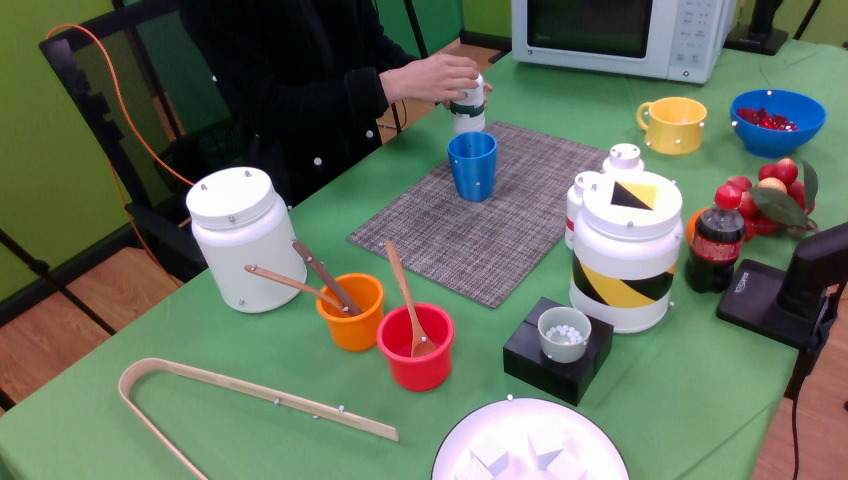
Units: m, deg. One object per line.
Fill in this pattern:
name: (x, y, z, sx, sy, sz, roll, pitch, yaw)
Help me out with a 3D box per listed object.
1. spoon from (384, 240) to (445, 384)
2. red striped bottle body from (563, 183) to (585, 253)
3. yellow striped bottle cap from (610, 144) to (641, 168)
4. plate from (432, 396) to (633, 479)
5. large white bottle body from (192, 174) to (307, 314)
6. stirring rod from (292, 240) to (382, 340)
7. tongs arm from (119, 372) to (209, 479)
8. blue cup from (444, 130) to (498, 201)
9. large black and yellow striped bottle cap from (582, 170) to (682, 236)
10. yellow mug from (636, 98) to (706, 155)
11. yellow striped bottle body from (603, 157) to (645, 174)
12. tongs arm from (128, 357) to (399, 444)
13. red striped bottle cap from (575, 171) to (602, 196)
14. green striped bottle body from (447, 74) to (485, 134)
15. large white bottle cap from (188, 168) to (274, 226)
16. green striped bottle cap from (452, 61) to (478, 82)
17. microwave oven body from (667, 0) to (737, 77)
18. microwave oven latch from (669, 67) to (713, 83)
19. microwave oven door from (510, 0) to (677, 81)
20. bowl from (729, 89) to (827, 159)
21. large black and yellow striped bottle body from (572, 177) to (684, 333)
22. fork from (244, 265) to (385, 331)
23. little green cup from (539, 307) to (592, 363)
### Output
spoon: (-0.016, 0.090, 0.776, 0.042, 0.021, 0.193, -17, 85, -10)
red striped bottle body: (0.246, -0.041, 0.910, 0.063, 0.120, 0.062, -2, 38, 2)
yellow striped bottle cap: (0.307, -0.128, 0.923, 0.044, 0.019, 0.044, -6, 40, 5)
plate: (0.112, 0.261, 0.634, 0.209, 0.038, 0.208, -5, 40, 4)
large white bottle body: (-0.256, 0.003, 0.885, 0.130, 0.185, 0.130, -5, 40, 4)
stirring rod: (-0.119, 0.068, 0.826, 0.176, 0.006, 0.014, 49, 59, -4)
tongs arm: (-0.258, 0.257, 0.700, 0.384, 0.028, 0.028, 24, 55, 34)
blue cup: (0.086, -0.123, 1.040, 0.092, 0.100, 0.092, -5, 42, 5)
large black and yellow striped bottle cap: (0.252, -0.048, 0.735, 0.115, 0.019, 0.114, -3, 40, 3)
yellow mug: (0.453, -0.217, 1.129, 0.100, 0.064, 0.129, -35, 46, -26)
yellow striped bottle body: (0.313, -0.089, 0.956, 0.063, 0.121, 0.062, -5, 40, 4)
tongs arm: (-0.213, 0.205, 0.755, 0.382, 0.026, 0.051, 12, 46, 23)
red striped bottle cap: (0.242, -0.081, 0.876, 0.044, 0.018, 0.044, -5, 44, 5)
green striped bottle body: (0.075, -0.252, 1.079, 0.063, 0.120, 0.063, -5, 42, 5)
large white bottle cap: (-0.264, -0.061, 0.831, 0.115, 0.018, 0.114, -4, 40, 4)
green striped bottle cap: (0.071, -0.290, 1.043, 0.044, 0.020, 0.044, -4, 42, 4)
microwave oven body: (0.462, -0.552, 1.369, 0.439, 0.261, 0.326, 15, 45, 26)
microwave oven latch: (0.556, -0.348, 1.261, 0.078, 0.029, 0.030, 16, 46, 27)
microwave oven door: (0.354, -0.478, 1.290, 0.353, 0.245, 0.039, 15, 45, 25)
bowl: (0.615, -0.197, 1.069, 0.151, 0.077, 0.150, -5, 40, 5)
large black and yellow striped bottle body: (0.262, 0.017, 0.788, 0.131, 0.185, 0.130, -5, 40, 4)
fork: (-0.142, 0.078, 0.806, 0.209, 0.018, 0.028, 30, 32, -24)
little green cup: (0.168, 0.115, 0.721, 0.061, 0.039, 0.061, -4, 42, 4)
